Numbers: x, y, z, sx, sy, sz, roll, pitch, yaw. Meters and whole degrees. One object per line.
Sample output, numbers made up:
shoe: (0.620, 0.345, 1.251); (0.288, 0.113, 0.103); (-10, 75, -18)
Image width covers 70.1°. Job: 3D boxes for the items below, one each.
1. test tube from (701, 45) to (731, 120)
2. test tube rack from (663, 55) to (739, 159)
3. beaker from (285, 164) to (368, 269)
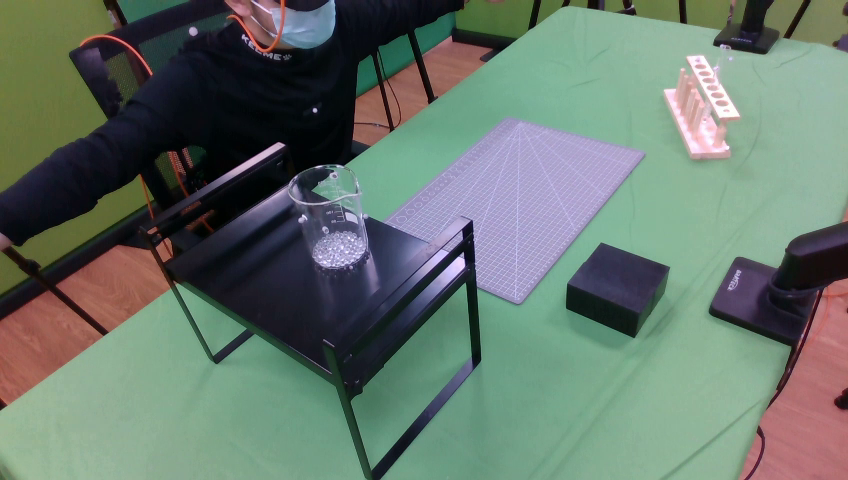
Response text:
test tube: (0.527, -0.281, 1.095); (0.017, 0.151, 0.017); (-3, 46, 3)
test tube rack: (0.517, -0.256, 1.144); (0.066, 0.085, 0.241); (-1, 41, 8)
beaker: (-0.102, -0.024, 0.676); (0.083, 0.101, 0.074); (8, 43, 17)
